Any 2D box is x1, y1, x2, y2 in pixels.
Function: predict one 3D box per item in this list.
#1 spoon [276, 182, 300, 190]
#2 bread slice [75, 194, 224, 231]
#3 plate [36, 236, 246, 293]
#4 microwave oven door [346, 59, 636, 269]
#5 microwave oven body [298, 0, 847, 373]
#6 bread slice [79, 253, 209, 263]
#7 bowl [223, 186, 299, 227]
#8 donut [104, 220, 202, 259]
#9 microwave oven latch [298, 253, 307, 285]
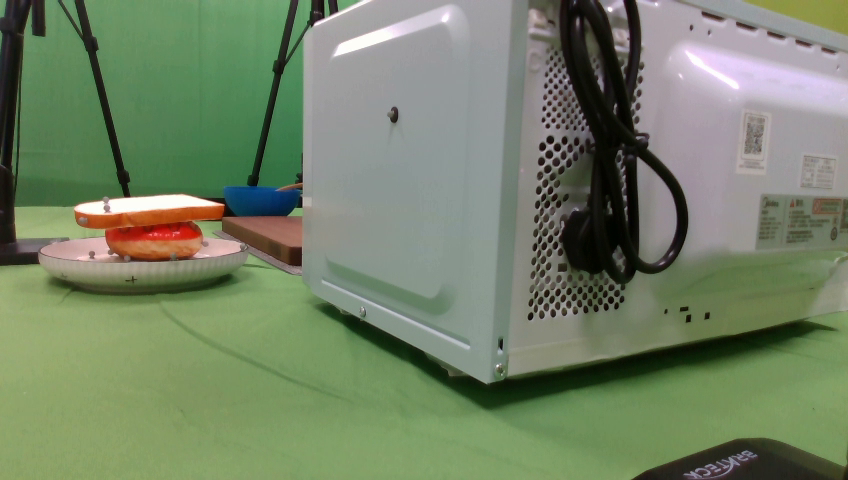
[{"bbox_3d":[-0.300,-0.102,1.266,0.194,0.021,0.041,-23,9,-23],"label":"spoon"},{"bbox_3d":[-0.302,-0.031,0.659,0.106,0.018,0.135,10,16,41],"label":"bread slice"},{"bbox_3d":[-0.305,0.026,0.669,0.208,0.039,0.207,2,7,0],"label":"plate"},{"bbox_3d":[0.086,-0.089,0.751,0.357,0.243,0.039,1,8,-10],"label":"microwave oven door"},{"bbox_3d":[0.151,-0.055,0.543,0.444,0.260,0.324,-2,7,-33],"label":"microwave oven body"},{"bbox_3d":[-0.302,0.027,0.662,0.132,0.019,0.104,-4,8,-45],"label":"bread slice"},{"bbox_3d":[-0.330,-0.068,1.231,0.151,0.077,0.151,3,7,0],"label":"bowl"},{"bbox_3d":[-0.298,-0.003,0.670,0.099,0.048,0.099,3,-1,0],"label":"donut"},{"bbox_3d":[-0.081,0.027,0.583,0.079,0.029,0.030,-1,7,-32],"label":"microwave oven latch"}]
